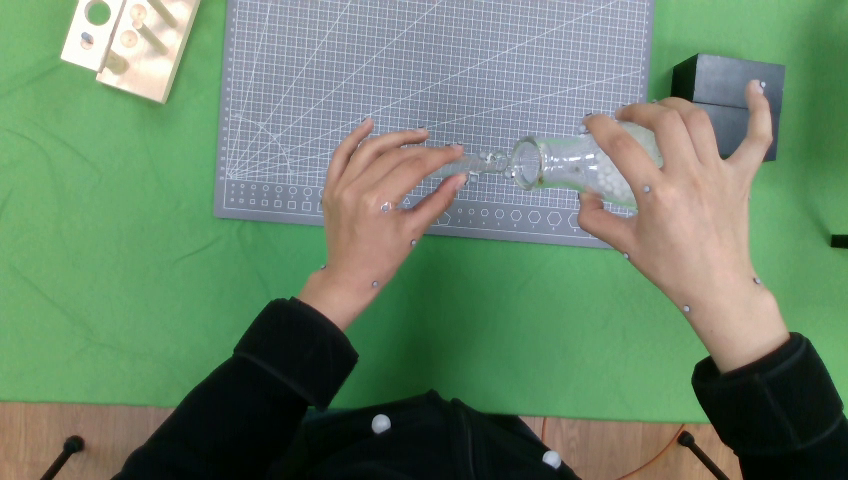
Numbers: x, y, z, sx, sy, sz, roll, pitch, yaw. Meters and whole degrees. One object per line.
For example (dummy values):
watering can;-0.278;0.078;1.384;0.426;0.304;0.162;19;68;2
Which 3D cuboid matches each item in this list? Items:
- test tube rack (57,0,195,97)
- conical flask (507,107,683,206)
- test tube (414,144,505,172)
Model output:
test tube rack;-0.251;-0.267;0.563;0.067;0.085;0.242;18;90;-7
conical flask;0.120;-0.060;0.438;0.122;0.075;0.075;-4;92;-28
test tube;0.024;-0.065;0.493;0.017;0.149;0.017;-2;95;-22
